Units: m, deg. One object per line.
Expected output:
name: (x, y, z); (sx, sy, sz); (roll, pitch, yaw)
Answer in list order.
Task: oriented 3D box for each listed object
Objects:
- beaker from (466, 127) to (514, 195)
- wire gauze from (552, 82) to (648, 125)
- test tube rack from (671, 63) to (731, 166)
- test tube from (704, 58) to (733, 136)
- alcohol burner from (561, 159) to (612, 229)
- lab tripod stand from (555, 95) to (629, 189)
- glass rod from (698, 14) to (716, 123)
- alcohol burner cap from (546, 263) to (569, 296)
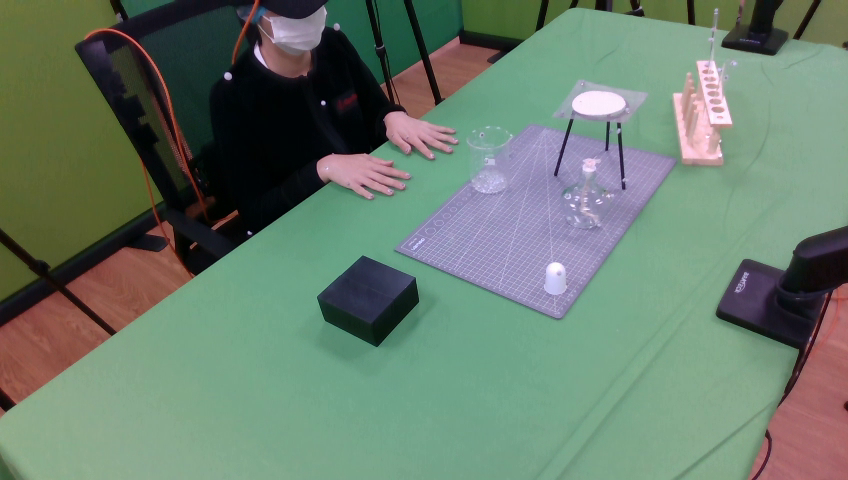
beaker: (0.117, -0.136, 1.056); (0.084, 0.101, 0.073); (-9, 40, -2)
wire gauze: (0.293, -0.226, 1.002); (0.120, 0.011, 0.125); (17, 45, 27)
test tube rack: (0.513, -0.241, 1.132); (0.066, 0.085, 0.242); (4, 41, 14)
test tube: (0.516, -0.247, 1.062); (0.017, 0.151, 0.017); (-3, 43, 4)
alcohol burner: (0.257, -0.077, 0.951); (0.078, 0.119, 0.077); (-3, 40, 3)
lab tripod stand: (0.300, -0.174, 1.045); (0.148, 0.132, 0.147); (-5, 38, 5)
glass rod: (0.532, -0.320, 1.136); (0.008, 0.200, 0.008); (3, 12, 0)
alcohol burner cap: (0.191, 0.053, 0.862); (0.034, 0.048, 0.033); (-5, 40, 4)
